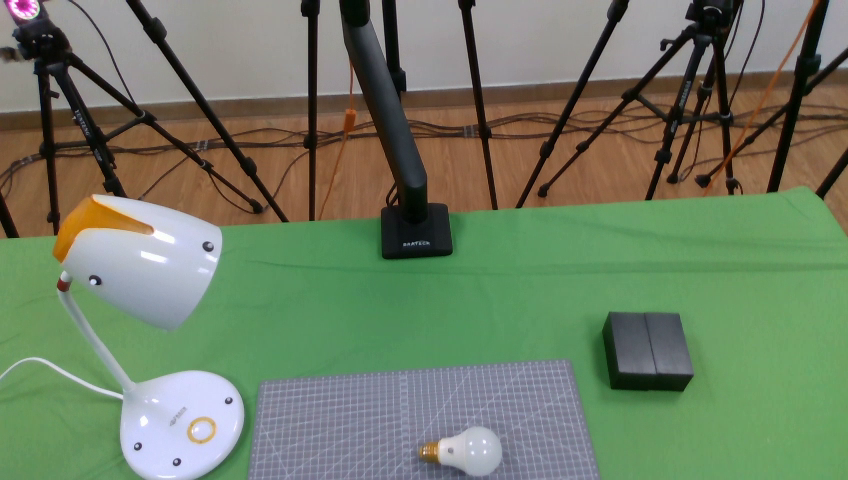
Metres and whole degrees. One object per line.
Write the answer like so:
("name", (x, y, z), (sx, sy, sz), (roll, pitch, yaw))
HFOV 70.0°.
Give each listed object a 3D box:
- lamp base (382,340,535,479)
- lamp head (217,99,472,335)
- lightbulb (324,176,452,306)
("lamp base", (0.031, 0.155, 0.610), (0.179, 0.181, 0.159), (13, 66, 9))
("lamp head", (-0.050, 0.003, 0.322), (0.113, 0.123, 0.111), (21, 57, -36))
("lightbulb", (-0.028, 0.013, 0.303), (0.060, 0.108, 0.059), (18, 48, -21))
